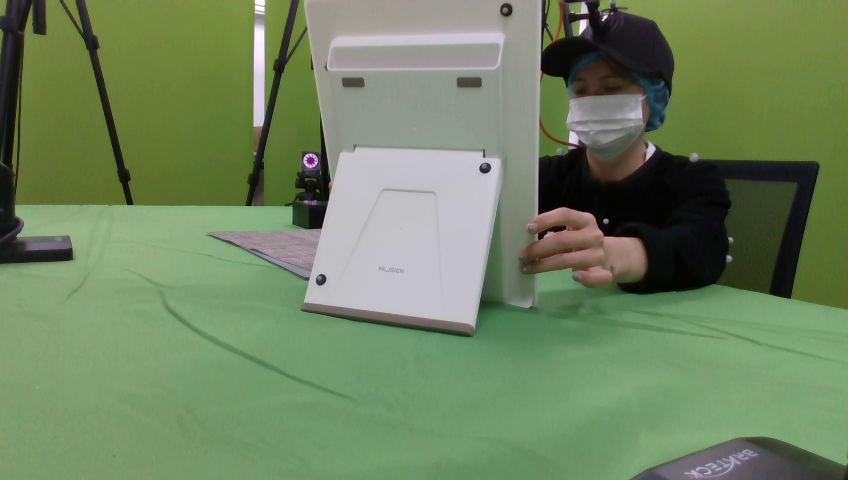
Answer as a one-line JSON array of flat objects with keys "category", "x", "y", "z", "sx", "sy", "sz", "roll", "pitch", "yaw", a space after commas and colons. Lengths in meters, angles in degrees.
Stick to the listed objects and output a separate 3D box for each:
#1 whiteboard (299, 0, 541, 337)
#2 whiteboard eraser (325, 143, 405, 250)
[{"category": "whiteboard", "x": -0.021, "y": -0.050, "z": 0.523, "sx": 0.216, "sy": 0.305, "sz": 0.144, "roll": 6, "pitch": 27, "yaw": 20}, {"category": "whiteboard eraser", "x": -0.066, "y": -0.043, "z": 0.650, "sx": 0.055, "sy": 0.112, "sz": 0.042, "roll": 28, "pitch": 34, "yaw": 1}]
